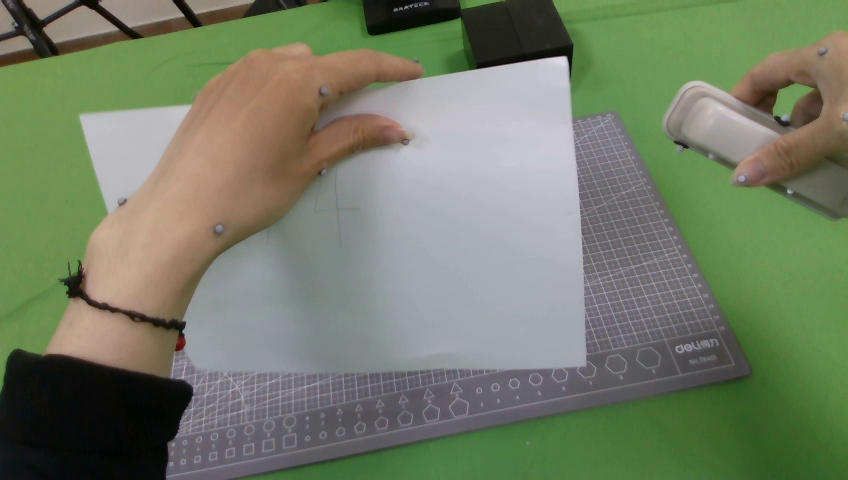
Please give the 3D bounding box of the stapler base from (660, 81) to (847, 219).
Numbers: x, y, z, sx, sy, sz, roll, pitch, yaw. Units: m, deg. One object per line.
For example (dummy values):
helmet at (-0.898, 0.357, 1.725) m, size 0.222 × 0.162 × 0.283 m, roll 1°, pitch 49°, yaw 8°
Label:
stapler base at (0.215, -0.056, 0.381) m, size 0.130 × 0.041 × 0.024 m, roll 28°, pitch 27°, yaw 5°

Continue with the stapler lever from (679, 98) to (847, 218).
stapler lever at (0.210, -0.048, 0.359) m, size 0.118 × 0.027 × 0.040 m, roll 29°, pitch 27°, yaw 6°
